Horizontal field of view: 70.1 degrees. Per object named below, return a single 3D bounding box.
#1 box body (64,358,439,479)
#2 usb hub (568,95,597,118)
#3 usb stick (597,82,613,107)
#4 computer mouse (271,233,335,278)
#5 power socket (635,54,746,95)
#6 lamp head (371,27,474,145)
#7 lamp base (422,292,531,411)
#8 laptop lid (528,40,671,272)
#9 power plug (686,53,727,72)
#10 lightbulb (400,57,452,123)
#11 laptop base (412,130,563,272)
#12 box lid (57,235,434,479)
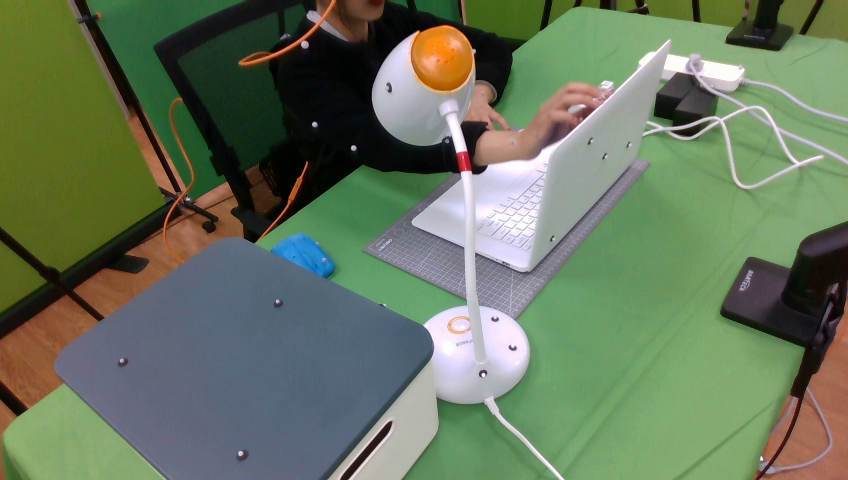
[{"bbox_3d":[-0.189,0.179,0.702,0.361,0.161,0.255,22,49,32],"label":"box body"},{"bbox_3d":[0.360,-0.263,1.228,0.124,0.025,0.049,24,49,34],"label":"usb hub"},{"bbox_3d":[0.360,-0.281,1.204,0.021,0.059,0.027,23,48,33],"label":"usb stick"},{"bbox_3d":[-0.198,0.029,0.981,0.063,0.041,0.116,-31,48,-27],"label":"computer mouse"},{"bbox_3d":[0.564,-0.357,1.293,0.225,0.033,0.072,24,51,33],"label":"power socket"},{"bbox_3d":[0.007,-0.167,0.644,0.113,0.112,0.122,-22,2,-14],"label":"lamp head"},{"bbox_3d":[0.054,0.095,0.740,0.161,0.181,0.177,-19,43,-11],"label":"lamp base"},{"bbox_3d":[0.266,-0.127,0.904,0.013,0.242,0.358,31,52,26],"label":"laptop lid"},{"bbox_3d":[0.585,-0.361,1.260,0.072,0.053,0.035,15,55,18],"label":"power plug"},{"bbox_3d":[0.003,-0.169,0.668,0.059,0.108,0.059,0,79,-2],"label":"lightbulb"},{"bbox_3d":[0.176,-0.083,1.055,0.233,0.023,0.355,21,48,36],"label":"laptop base"},{"bbox_3d":[-0.198,0.123,0.653,0.368,0.015,0.264,22,49,32],"label":"box lid"}]
